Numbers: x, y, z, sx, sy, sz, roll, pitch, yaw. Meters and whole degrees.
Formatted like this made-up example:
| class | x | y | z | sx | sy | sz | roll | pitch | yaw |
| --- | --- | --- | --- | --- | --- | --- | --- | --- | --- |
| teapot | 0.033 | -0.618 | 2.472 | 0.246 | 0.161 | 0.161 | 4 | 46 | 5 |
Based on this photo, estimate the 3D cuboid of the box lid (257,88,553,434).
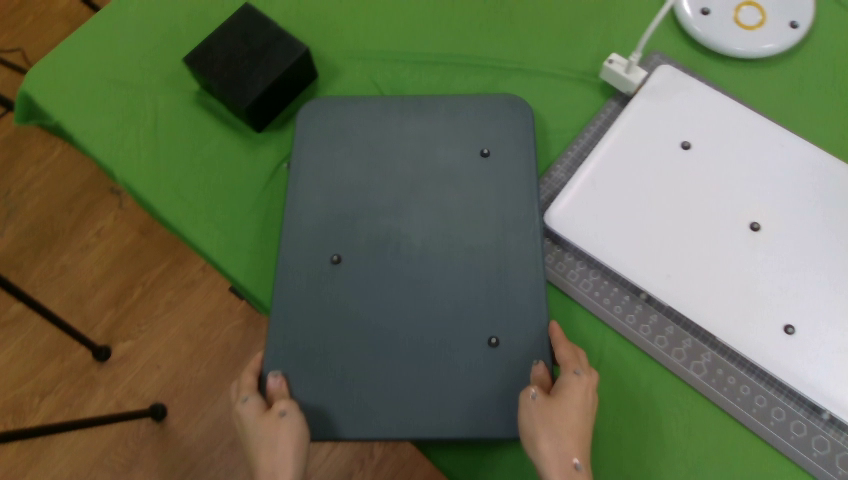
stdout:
| class | x | y | z | sx | sy | sz | roll | pitch | yaw |
| --- | --- | --- | --- | --- | --- | --- | --- | --- | --- |
| box lid | -0.015 | -0.001 | 0.599 | 0.263 | 0.015 | 0.368 | 0 | 65 | 2 |

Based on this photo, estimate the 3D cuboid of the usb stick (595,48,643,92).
| class | x | y | z | sx | sy | sz | roll | pitch | yaw |
| --- | --- | --- | --- | --- | --- | --- | --- | --- | --- |
| usb stick | 0.219 | -0.183 | 0.664 | 0.059 | 0.027 | 0.021 | 39 | 71 | 12 |

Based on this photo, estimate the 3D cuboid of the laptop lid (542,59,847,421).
| class | x | y | z | sx | sy | sz | roll | pitch | yaw |
| --- | --- | --- | --- | --- | --- | --- | --- | --- | --- |
| laptop lid | 0.324 | -0.016 | 0.601 | 0.355 | 0.013 | 0.241 | 37 | 79 | 14 |

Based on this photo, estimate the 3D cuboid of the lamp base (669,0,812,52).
| class | x | y | z | sx | sy | sz | roll | pitch | yaw |
| --- | --- | --- | --- | --- | --- | --- | --- | --- | --- |
| lamp base | 0.362 | -0.326 | 0.637 | 0.160 | 0.181 | 0.178 | -1 | 67 | 2 |

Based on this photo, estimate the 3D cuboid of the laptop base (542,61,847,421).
| class | x | y | z | sx | sy | sz | roll | pitch | yaw |
| --- | --- | --- | --- | --- | --- | --- | --- | --- | --- |
| laptop base | 0.327 | -0.013 | 0.613 | 0.352 | 0.023 | 0.235 | 35 | 79 | 14 |
